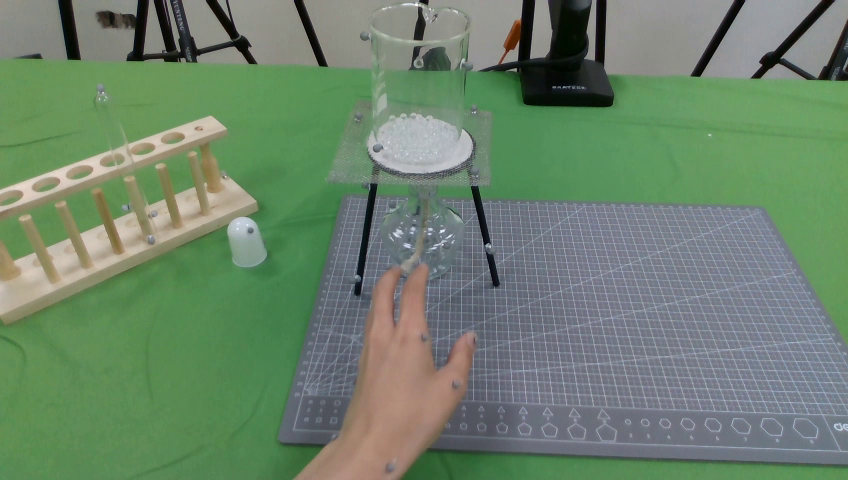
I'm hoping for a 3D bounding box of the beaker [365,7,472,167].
[{"bbox_3d":[-0.004,-0.114,0.456,0.074,0.101,0.083,9,41,7],"label":"beaker"}]

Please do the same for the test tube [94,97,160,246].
[{"bbox_3d":[-0.261,-0.056,0.536,0.017,0.151,0.017,1,39,0],"label":"test tube"}]

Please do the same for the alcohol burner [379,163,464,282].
[{"bbox_3d":[-0.002,-0.019,0.538,0.078,0.120,0.077,1,42,-1],"label":"alcohol burner"}]

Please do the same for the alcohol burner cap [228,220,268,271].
[{"bbox_3d":[-0.168,0.002,0.571,0.034,0.048,0.033,1,41,0],"label":"alcohol burner cap"}]

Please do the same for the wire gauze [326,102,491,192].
[{"bbox_3d":[-0.007,-0.076,0.486,0.121,0.011,0.124,4,43,3],"label":"wire gauze"}]

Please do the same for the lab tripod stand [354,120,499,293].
[{"bbox_3d":[0.001,-0.026,0.531,0.148,0.132,0.147,1,40,-1],"label":"lab tripod stand"}]

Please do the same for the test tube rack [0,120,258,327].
[{"bbox_3d":[-0.286,-0.024,0.567,0.242,0.086,0.066,-30,48,-30],"label":"test tube rack"}]
